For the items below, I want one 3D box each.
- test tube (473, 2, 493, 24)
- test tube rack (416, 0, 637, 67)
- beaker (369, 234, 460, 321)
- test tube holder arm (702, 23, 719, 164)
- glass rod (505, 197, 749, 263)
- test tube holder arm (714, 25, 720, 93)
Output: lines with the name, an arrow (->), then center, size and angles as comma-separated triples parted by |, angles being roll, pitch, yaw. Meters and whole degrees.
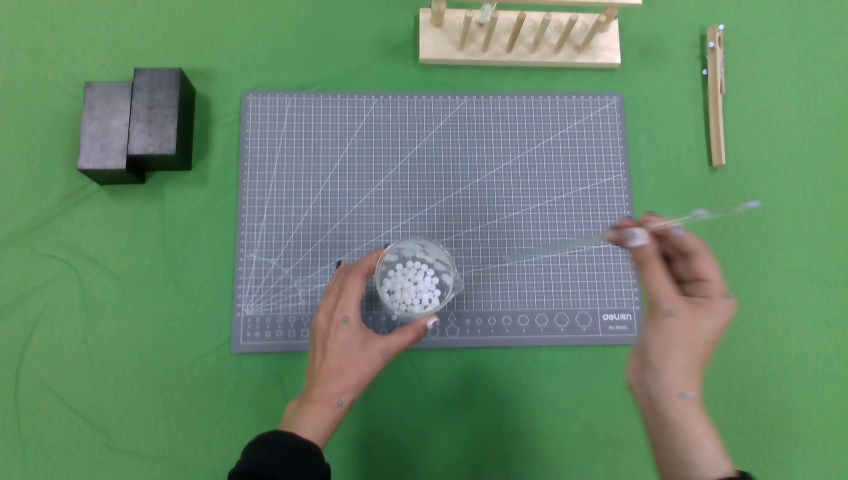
test tube -> 0.077, -0.282, 0.655 | 0.017, 0.150, 0.017 | 2, 75, -9
test tube rack -> 0.113, -0.254, 0.702 | 0.242, 0.085, 0.066 | 0, 77, -3
beaker -> -0.011, 0.041, 0.591 | 0.084, 0.100, 0.073 | 10, 78, -2
test tube holder arm -> 0.346, -0.178, 0.731 | 0.013, 0.015, 0.177 | 12, 76, -31
glass rod -> 0.145, -0.004, 0.471 | 0.008, 0.199, 0.008 | 20, 62, -44
test tube holder arm -> 0.355, -0.221, 0.744 | 0.010, 0.015, 0.087 | 13, 76, -31
